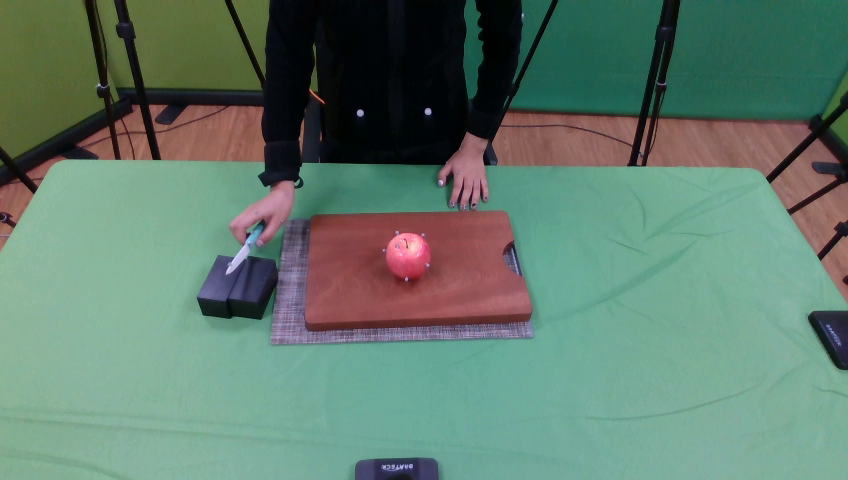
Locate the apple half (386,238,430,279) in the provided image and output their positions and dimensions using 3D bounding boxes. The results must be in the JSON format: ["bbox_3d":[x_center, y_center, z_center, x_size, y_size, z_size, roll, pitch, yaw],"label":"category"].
[{"bbox_3d":[-0.032,0.039,1.084,0.081,0.075,0.053,11,50,1],"label":"apple half"}]

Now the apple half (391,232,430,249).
[{"bbox_3d":[-0.025,0.010,1.110,0.081,0.081,0.032,8,50,4],"label":"apple half"}]

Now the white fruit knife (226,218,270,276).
[{"bbox_3d":[-0.314,0.009,1.085,0.016,0.027,0.206,3,27,4],"label":"white fruit knife"}]
